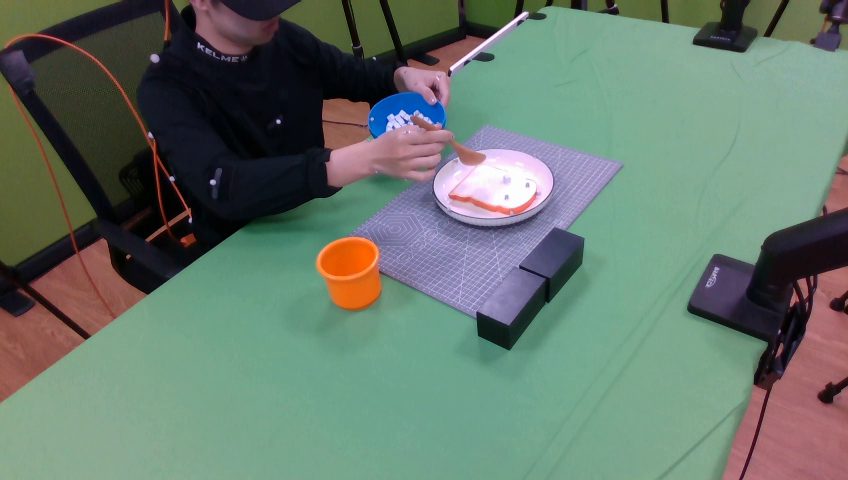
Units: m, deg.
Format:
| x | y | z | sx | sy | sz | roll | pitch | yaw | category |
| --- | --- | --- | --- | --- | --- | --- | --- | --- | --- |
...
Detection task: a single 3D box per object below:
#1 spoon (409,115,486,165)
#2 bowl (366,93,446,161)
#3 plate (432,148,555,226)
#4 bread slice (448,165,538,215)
| x | y | z | sx | sy | sz | roll | pitch | yaw | category |
| --- | --- | --- | --- | --- | --- | --- | --- | --- | --- |
| 0.037 | -0.156 | 0.955 | 0.041 | 0.195 | 0.021 | -20 | 61 | 34 | spoon |
| -0.031 | -0.206 | 1.161 | 0.151 | 0.077 | 0.150 | -2 | 50 | 3 | bowl |
| 0.119 | -0.087 | 1.037 | 0.209 | 0.038 | 0.208 | -4 | 40 | 4 | plate |
| 0.126 | -0.085 | 1.038 | 0.133 | 0.018 | 0.107 | 16 | 45 | 27 | bread slice |
